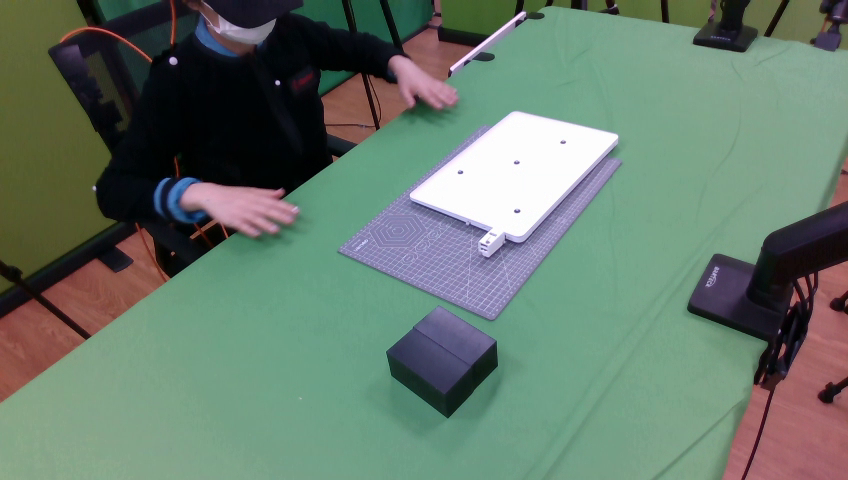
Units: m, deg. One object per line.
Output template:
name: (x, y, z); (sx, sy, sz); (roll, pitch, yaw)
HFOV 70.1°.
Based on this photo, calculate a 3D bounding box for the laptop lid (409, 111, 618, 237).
laptop lid: (0.167, -0.137, 1.089); (0.239, 0.013, 0.358); (24, 48, 34)

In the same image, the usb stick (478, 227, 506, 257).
usb stick: (0.109, -0.001, 0.934); (0.021, 0.027, 0.059); (22, 43, 33)

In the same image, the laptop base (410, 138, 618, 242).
laptop base: (0.170, -0.127, 1.096); (0.233, 0.023, 0.355); (21, 47, 34)
